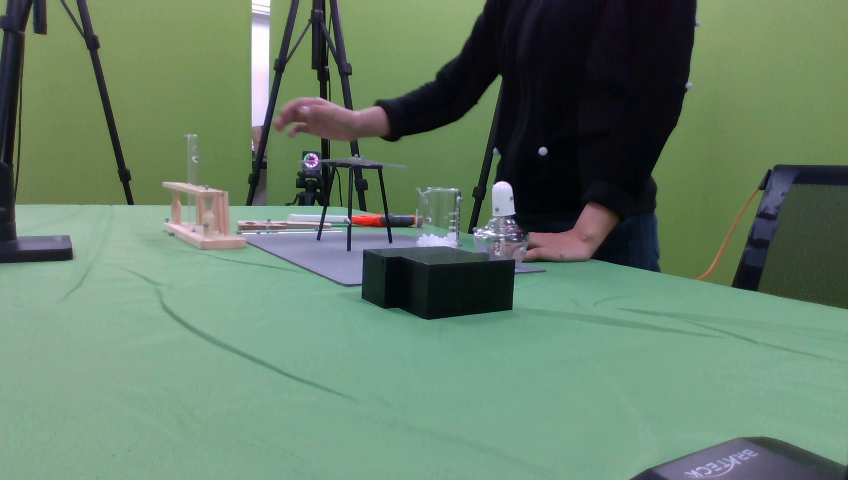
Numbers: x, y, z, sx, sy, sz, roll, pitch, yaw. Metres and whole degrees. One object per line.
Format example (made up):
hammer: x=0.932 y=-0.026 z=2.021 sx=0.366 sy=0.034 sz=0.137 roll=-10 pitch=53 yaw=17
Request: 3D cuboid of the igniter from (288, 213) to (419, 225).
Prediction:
igniter: x=-0.145 y=-0.044 z=1.278 sx=0.278 sy=0.025 sz=0.057 roll=-1 pitch=-2 yaw=-21

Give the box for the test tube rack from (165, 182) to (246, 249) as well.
test tube rack: x=-0.360 y=-0.045 z=0.982 sx=0.067 sy=0.085 sz=0.241 roll=-3 pitch=9 yaw=-34

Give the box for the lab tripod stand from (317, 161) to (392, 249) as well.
lab tripod stand: x=-0.111 y=-0.059 z=0.963 sx=0.148 sy=0.131 sz=0.148 roll=4 pitch=8 yaw=0

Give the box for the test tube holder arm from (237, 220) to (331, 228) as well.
test tube holder arm: x=-0.260 y=-0.029 z=1.140 sx=0.179 sy=0.015 sz=0.013 roll=-2 pitch=42 yaw=-32

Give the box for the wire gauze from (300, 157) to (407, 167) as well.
wire gauze: x=-0.112 y=-0.125 z=0.957 sx=0.121 sy=0.011 sz=0.126 roll=11 pitch=11 yaw=42

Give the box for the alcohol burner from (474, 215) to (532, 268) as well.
alcohol burner: x=0.107 y=-0.022 z=0.819 sx=0.078 sy=0.119 sz=0.078 roll=1 pitch=9 yaw=0

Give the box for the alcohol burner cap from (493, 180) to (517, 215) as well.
alcohol burner cap: x=0.107 y=-0.057 z=0.813 sx=0.034 sy=0.048 sz=0.034 roll=-6 pitch=11 yaw=2

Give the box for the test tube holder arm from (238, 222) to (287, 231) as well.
test tube holder arm: x=-0.296 y=-0.024 z=1.113 sx=0.088 sy=0.015 sz=0.010 roll=-2 pitch=42 yaw=-32

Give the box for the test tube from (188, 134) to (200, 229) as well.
test tube: x=-0.365 y=-0.092 z=0.960 sx=0.017 sy=0.150 sz=0.017 roll=0 pitch=3 yaw=0

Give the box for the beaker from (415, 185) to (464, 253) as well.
beaker: x=0.021 y=-0.033 z=0.938 sx=0.073 sy=0.100 sz=0.084 roll=7 pitch=10 yaw=36

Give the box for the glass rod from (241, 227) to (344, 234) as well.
glass rod: x=-0.239 y=-0.019 z=1.119 sx=0.201 sy=0.008 sz=0.008 roll=-3 pitch=9 yaw=-34
